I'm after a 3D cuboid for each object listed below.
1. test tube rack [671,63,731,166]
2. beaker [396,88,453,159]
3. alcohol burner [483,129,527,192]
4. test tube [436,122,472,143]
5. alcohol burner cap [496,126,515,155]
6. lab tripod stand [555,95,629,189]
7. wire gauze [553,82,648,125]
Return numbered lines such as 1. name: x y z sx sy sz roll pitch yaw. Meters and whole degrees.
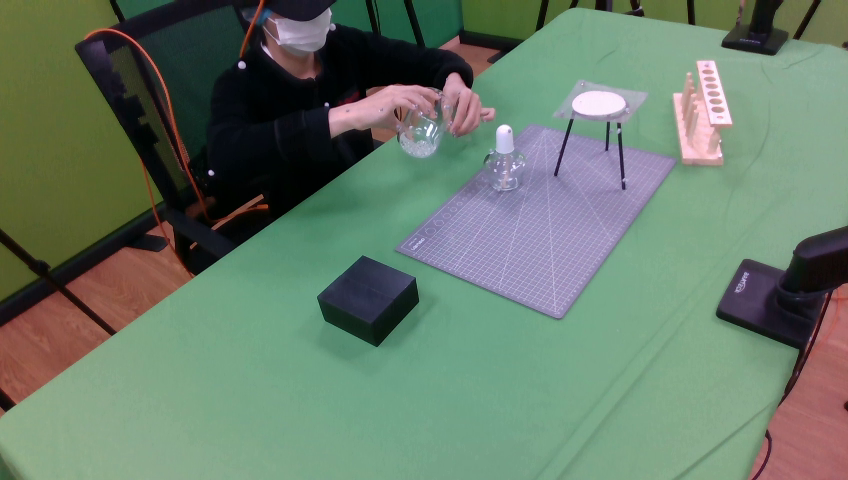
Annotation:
1. test tube rack: 0.513 -0.241 1.132 0.066 0.085 0.242 4 41 14
2. beaker: 0.001 -0.189 1.002 0.073 0.084 0.100 2 51 24
3. alcohol burner: 0.141 -0.144 1.050 0.078 0.119 0.077 -4 42 4
4. test tube: 0.058 -0.198 1.122 0.017 0.017 0.151 14 5 24
5. alcohol burner cap: 0.138 -0.172 1.028 0.034 0.048 0.033 -5 38 4
6. lab tripod stand: 0.300 -0.174 1.045 0.148 0.132 0.147 -5 38 5
7. wire gauze: 0.293 -0.226 1.002 0.120 0.011 0.125 17 45 27
